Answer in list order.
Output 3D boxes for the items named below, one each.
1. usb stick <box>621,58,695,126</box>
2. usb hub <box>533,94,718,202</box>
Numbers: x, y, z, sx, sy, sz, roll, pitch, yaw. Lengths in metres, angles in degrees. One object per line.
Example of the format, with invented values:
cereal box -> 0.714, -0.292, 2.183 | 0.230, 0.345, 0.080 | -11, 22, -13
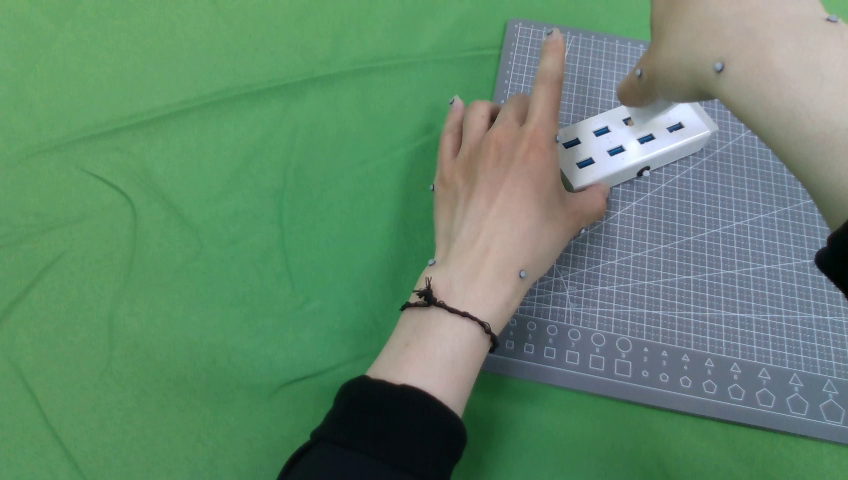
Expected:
usb stick -> 0.151, -0.094, 0.403 | 0.021, 0.059, 0.027 | -29, 84, -12
usb hub -> 0.145, -0.072, 0.436 | 0.125, 0.025, 0.049 | -21, 66, -14
